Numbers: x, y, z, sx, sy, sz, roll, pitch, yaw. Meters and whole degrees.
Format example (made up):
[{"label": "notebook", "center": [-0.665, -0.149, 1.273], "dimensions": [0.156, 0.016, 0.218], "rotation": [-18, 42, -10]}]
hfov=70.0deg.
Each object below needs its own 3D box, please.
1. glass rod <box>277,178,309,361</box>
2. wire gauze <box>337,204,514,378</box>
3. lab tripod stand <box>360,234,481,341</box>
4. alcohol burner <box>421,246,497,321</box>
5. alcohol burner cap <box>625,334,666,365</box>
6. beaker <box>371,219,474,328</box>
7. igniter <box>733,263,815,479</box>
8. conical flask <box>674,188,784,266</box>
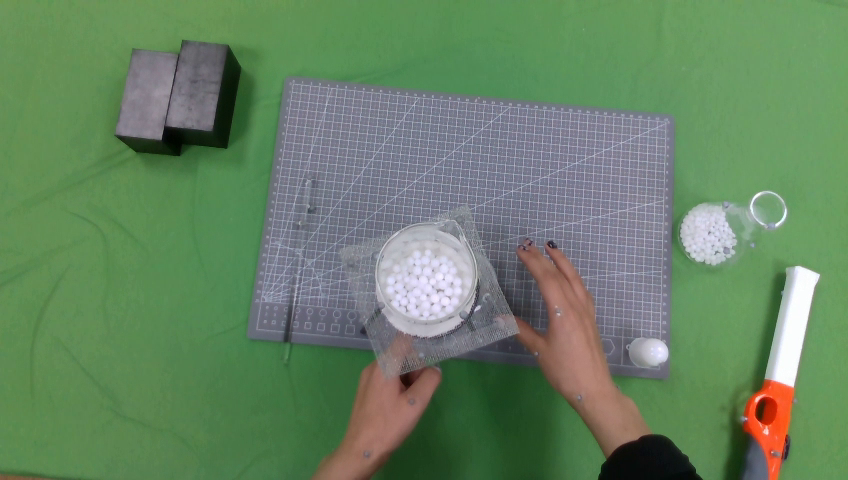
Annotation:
[{"label": "glass rod", "center": [-0.140, 0.030, 0.653], "dimensions": [0.008, 0.008, 0.199], "rotation": [7, 82, -1]}, {"label": "wire gauze", "center": [0.001, 0.043, 0.525], "dimensions": [0.125, 0.011, 0.121], "rotation": [-19, 83, -7]}, {"label": "lab tripod stand", "center": [-0.001, 0.055, 0.589], "dimensions": [0.148, 0.132, 0.148], "rotation": [0, 81, -1]}, {"label": "alcohol burner", "center": [0.036, 0.041, 0.603], "dimensions": [0.078, 0.119, 0.077], "rotation": [0, 78, 1]}, {"label": "alcohol burner cap", "center": [0.234, 0.114, 0.631], "dimensions": [0.034, 0.048, 0.033], "rotation": [0, 79, -2]}, {"label": "beaker", "center": [0.000, 0.030, 0.478], "dimensions": [0.074, 0.100, 0.084], "rotation": [27, 80, 3]}, {"label": "igniter", "center": [0.367, 0.158, 0.638], "dimensions": [0.057, 0.025, 0.275], "rotation": [21, 79, -8]}, {"label": "conical flask", "center": [0.315, -0.019, 0.621], "dimensions": [0.075, 0.122, 0.075], "rotation": [0, 78, -1]}]
